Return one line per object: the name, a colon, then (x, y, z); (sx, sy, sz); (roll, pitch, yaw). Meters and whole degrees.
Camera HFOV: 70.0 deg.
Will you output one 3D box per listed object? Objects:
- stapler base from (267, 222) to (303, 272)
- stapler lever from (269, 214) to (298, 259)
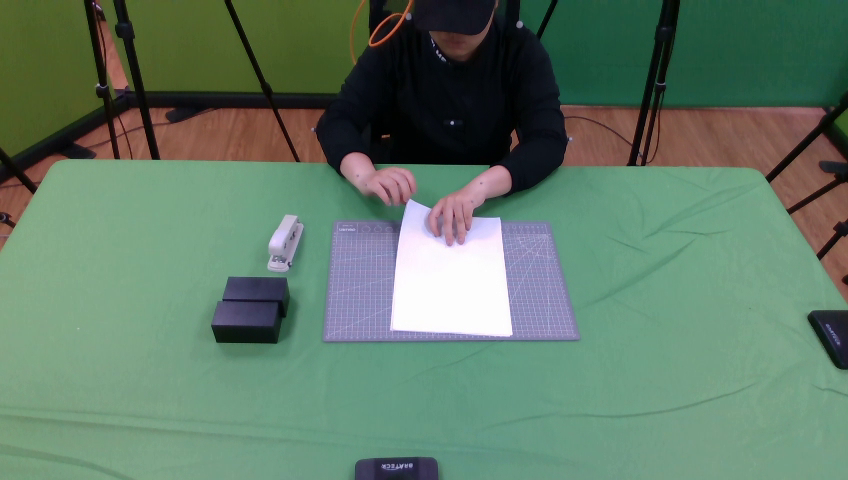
stapler base: (-0.269, 0.005, 1.170); (0.041, 0.024, 0.130); (8, 44, 0)
stapler lever: (-0.268, -0.013, 1.154); (0.027, 0.040, 0.117); (8, 44, 0)
